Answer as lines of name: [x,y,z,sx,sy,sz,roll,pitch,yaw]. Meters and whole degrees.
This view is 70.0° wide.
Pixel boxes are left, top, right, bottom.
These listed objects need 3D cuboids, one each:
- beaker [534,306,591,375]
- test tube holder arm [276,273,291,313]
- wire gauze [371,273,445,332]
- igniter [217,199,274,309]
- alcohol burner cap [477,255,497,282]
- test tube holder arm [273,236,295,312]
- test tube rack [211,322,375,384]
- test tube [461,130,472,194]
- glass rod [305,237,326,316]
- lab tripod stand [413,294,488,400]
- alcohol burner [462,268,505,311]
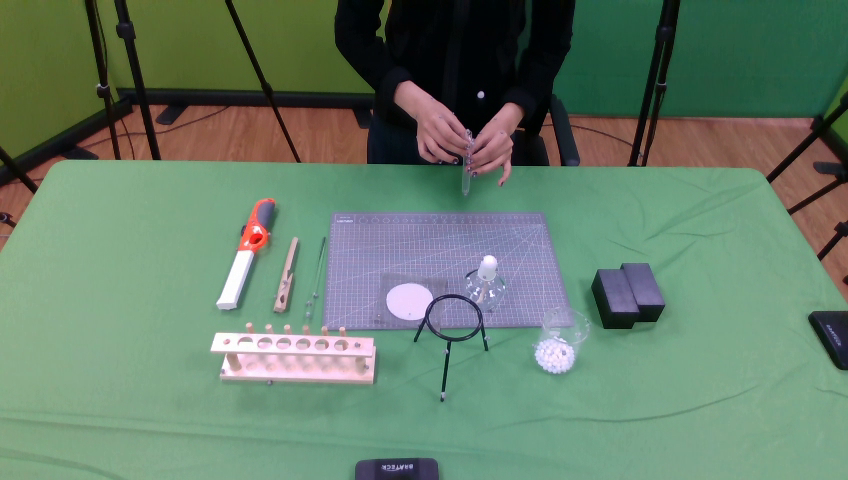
beaker: [0.226,0.168,1.002,0.084,0.101,0.073,-5,47,-10]
test tube holder arm: [-0.254,0.093,1.094,0.010,0.015,0.087,28,39,-26]
wire gauze: [-0.028,0.108,1.100,0.125,0.011,0.121,7,45,4]
igniter: [-0.336,0.017,1.153,0.057,0.025,0.275,-2,45,8]
alcohol burner cap: [0.110,0.047,1.046,0.034,0.048,0.033,2,52,-2]
test tube holder arm: [-0.259,0.059,1.123,0.013,0.015,0.177,28,39,-27]
test tube rack: [-0.202,0.176,0.969,0.242,0.085,0.066,3,46,-2]
test tube: [0.081,-0.147,1.171,0.017,0.151,0.017,0,47,0]
glass rod: [-0.202,0.063,1.131,0.008,0.008,0.198,4,44,0]
lab tripod stand: [0.044,0.159,0.972,0.148,0.132,0.147,2,44,-2]
alcohol burner: [0.108,0.071,1.072,0.078,0.119,0.077,4,45,-3]
